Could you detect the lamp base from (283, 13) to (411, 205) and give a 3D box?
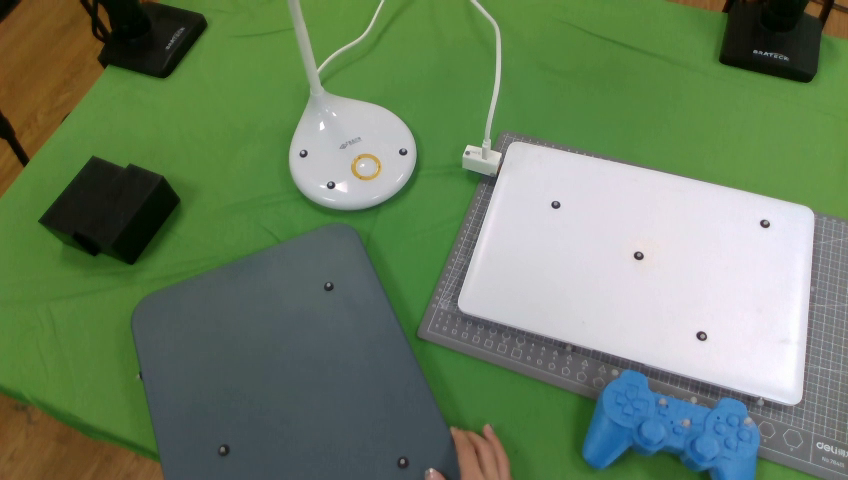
[{"bbox_3d":[-0.108,-0.156,0.695,0.160,0.182,0.177,-38,64,-16],"label":"lamp base"}]

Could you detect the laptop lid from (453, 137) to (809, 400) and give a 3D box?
[{"bbox_3d":[0.230,0.015,0.665,0.355,0.013,0.240,16,67,11],"label":"laptop lid"}]

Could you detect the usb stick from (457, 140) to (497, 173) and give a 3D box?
[{"bbox_3d":[0.071,-0.099,0.733,0.059,0.027,0.021,19,59,9],"label":"usb stick"}]

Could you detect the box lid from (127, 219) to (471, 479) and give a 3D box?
[{"bbox_3d":[-0.136,0.157,0.605,0.263,0.015,0.368,-23,62,-11],"label":"box lid"}]

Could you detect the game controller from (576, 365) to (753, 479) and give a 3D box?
[{"bbox_3d":[0.232,0.179,0.575,0.155,0.052,0.096,16,61,10],"label":"game controller"}]

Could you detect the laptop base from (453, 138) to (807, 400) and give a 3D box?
[{"bbox_3d":[0.231,0.019,0.676,0.353,0.023,0.234,15,68,10],"label":"laptop base"}]
